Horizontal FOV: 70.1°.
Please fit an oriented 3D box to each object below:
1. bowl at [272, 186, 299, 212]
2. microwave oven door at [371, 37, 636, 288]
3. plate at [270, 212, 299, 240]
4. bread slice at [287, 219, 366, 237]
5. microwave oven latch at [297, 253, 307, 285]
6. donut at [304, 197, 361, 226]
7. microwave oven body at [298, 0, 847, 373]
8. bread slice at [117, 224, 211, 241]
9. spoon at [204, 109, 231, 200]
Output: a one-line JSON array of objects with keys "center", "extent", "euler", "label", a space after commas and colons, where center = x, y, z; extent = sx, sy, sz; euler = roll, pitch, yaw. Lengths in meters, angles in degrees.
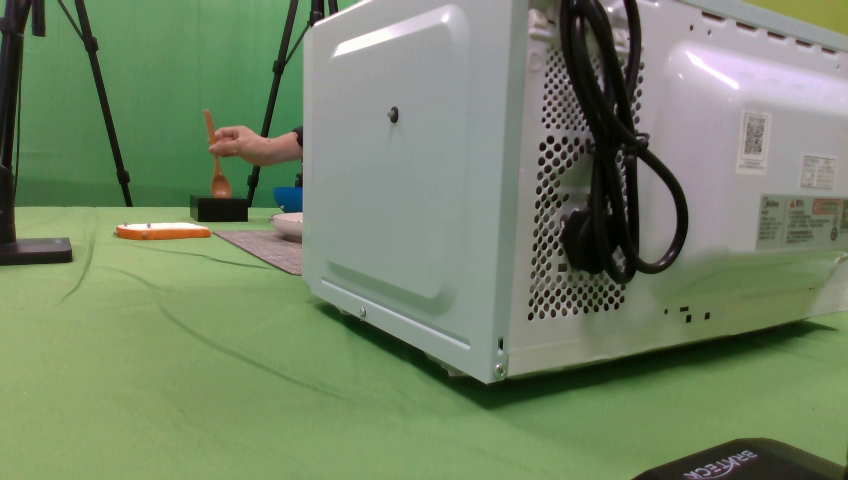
[{"center": [-0.254, -0.075, 1.317], "extent": [0.151, 0.077, 0.151], "euler": [2, 7, 0], "label": "bowl"}, {"center": [0.109, -0.080, 0.686], "extent": [0.358, 0.243, 0.039], "euler": [-2, 9, -33], "label": "microwave oven door"}, {"center": [-0.162, -0.022, 1.057], "extent": [0.208, 0.039, 0.207], "euler": [2, 7, 0], "label": "plate"}, {"center": [-0.170, -0.022, 1.056], "extent": [0.134, 0.018, 0.107], "euler": [2, 7, -6], "label": "bread slice"}, {"center": [-0.081, 0.027, 0.582], "extent": [0.079, 0.029, 0.030], "euler": [-1, 7, -32], "label": "microwave oven latch"}, {"center": [-0.159, -0.050, 1.055], "extent": [0.099, 0.048, 0.099], "euler": [3, 8, 0], "label": "donut"}, {"center": [0.151, -0.055, 0.542], "extent": [0.444, 0.260, 0.324], "euler": [-2, 7, -33], "label": "microwave oven body"}, {"center": [-0.443, -0.015, 1.022], "extent": [0.132, 0.019, 0.104], "euler": [-4, 8, -45], "label": "bread slice"}, {"center": [-0.447, -0.182, 1.298], "extent": [0.042, 0.193, 0.021], "euler": [-12, 18, -26], "label": "spoon"}]
